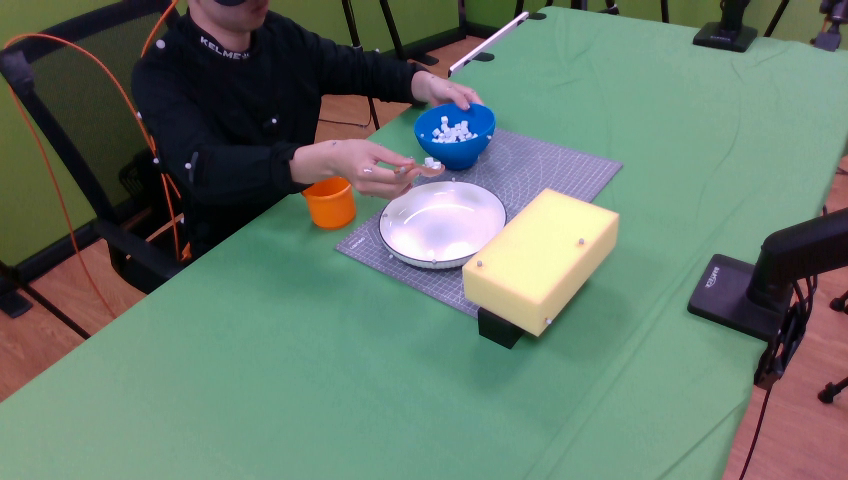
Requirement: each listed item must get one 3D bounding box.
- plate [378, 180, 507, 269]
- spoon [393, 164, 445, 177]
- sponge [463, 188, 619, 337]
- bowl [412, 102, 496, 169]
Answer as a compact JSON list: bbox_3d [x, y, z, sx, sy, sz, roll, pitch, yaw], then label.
[{"bbox_3d":[0.031,-0.022,0.974,0.209,0.038,0.208,-4,40,4],"label":"plate"},{"bbox_3d":[-0.011,-0.106,0.905,0.041,0.021,0.194,-3,3,19],"label":"spoon"},{"bbox_3d":[0.160,0.022,0.814,0.117,0.061,0.207,24,50,32],"label":"sponge"},{"bbox_3d":[0.059,-0.183,1.111,0.151,0.077,0.150,-6,39,5],"label":"bowl"}]
